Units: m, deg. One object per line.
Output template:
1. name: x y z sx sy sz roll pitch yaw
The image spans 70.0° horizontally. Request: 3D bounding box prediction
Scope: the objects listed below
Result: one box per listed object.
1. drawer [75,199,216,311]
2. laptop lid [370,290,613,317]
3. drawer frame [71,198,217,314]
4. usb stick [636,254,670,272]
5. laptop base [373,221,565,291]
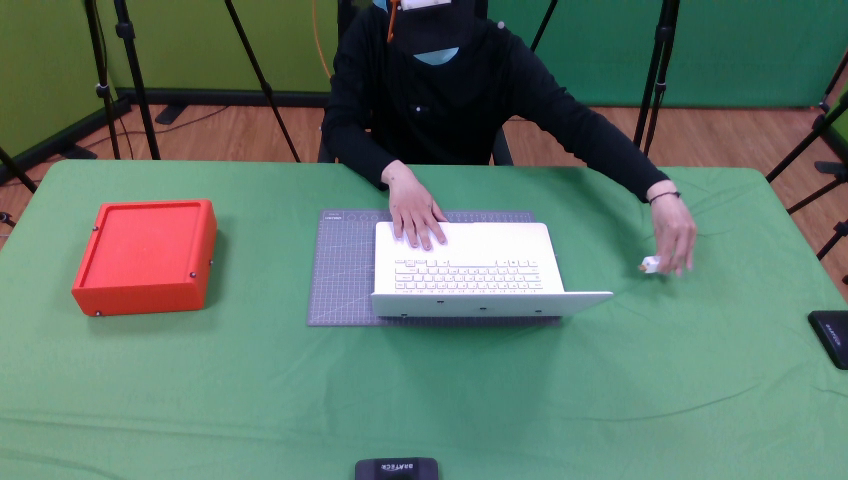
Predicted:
1. drawer: -0.494 0.022 1.097 0.195 0.073 0.210 -2 47 -7
2. laptop lid: 0.093 0.103 0.965 0.357 0.242 0.013 0 75 -5
3. drawer frame: -0.493 0.024 1.095 0.202 0.083 0.212 -3 47 -8
4. usb stick: 0.429 0.043 1.140 0.059 0.027 0.021 -8 43 -12
5. laptop base: 0.080 0.049 1.159 0.355 0.023 0.234 0 43 -4
